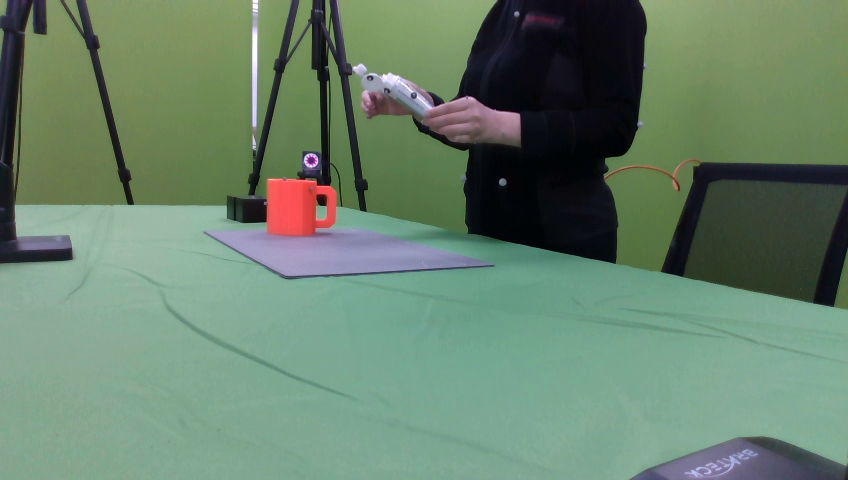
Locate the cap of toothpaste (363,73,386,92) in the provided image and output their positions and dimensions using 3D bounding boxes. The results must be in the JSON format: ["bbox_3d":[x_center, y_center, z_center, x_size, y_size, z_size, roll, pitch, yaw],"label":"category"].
[{"bbox_3d":[-0.078,-0.250,0.953,0.037,0.011,0.037,-3,-36,-2],"label":"cap of toothpaste"}]

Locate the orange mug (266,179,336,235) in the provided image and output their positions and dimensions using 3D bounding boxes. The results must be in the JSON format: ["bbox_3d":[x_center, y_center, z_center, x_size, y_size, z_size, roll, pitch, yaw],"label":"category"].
[{"bbox_3d":[-0.222,-0.062,1.094,0.127,0.101,0.083,-5,10,-22],"label":"orange mug"}]

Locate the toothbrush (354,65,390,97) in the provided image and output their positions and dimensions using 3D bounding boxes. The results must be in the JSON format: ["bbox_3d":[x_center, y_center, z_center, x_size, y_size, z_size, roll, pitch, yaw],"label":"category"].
[{"bbox_3d":[-0.085,-0.272,1.044,0.016,0.014,0.182,-35,-7,10],"label":"toothbrush"}]

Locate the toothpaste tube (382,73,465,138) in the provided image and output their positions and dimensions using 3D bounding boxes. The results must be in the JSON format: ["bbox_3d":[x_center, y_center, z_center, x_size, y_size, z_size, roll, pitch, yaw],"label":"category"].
[{"bbox_3d":[-0.001,-0.219,0.991,0.165,0.034,0.055,32,21,-15],"label":"toothpaste tube"}]
